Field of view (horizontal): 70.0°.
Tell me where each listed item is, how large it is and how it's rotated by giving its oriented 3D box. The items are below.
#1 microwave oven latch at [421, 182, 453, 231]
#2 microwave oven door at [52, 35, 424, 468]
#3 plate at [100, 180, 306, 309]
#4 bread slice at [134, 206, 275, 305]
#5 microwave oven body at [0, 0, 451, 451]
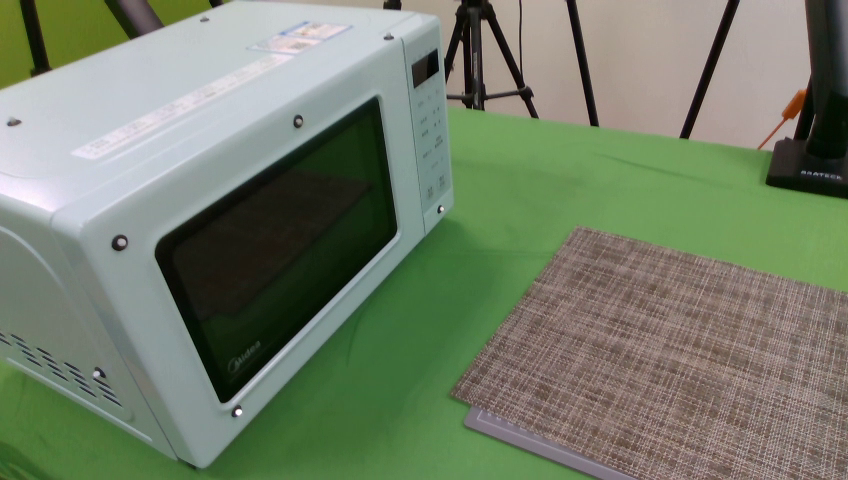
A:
[{"bbox_3d":[0.008,-0.043,0.747,0.030,0.030,0.079,16,42,27],"label":"microwave oven latch"},{"bbox_3d":[-0.114,-0.008,0.540,0.039,0.246,0.355,14,40,27],"label":"microwave oven door"},{"bbox_3d":[-0.226,0.004,0.639,0.209,0.038,0.207,-5,36,4],"label":"plate"},{"bbox_3d":[-0.229,0.007,0.644,0.104,0.019,0.131,23,48,33],"label":"bread slice"},{"bbox_3d":[-0.218,-0.059,0.637,0.324,0.262,0.440,15,41,26],"label":"microwave oven body"}]
